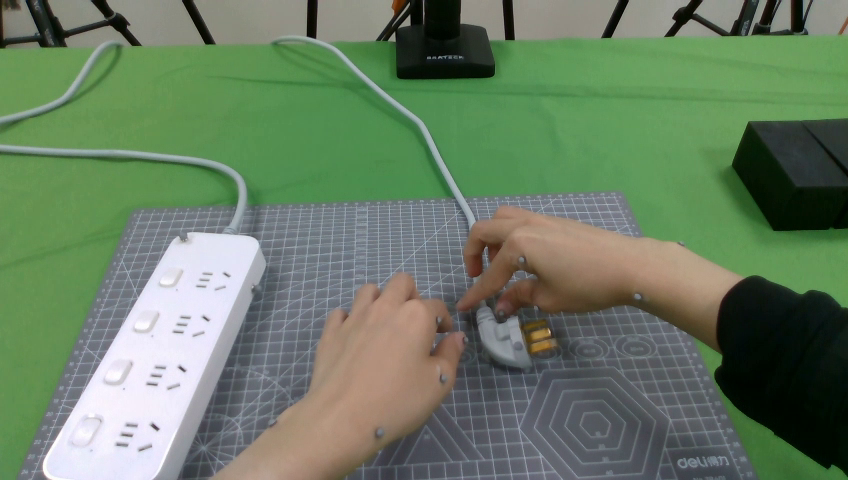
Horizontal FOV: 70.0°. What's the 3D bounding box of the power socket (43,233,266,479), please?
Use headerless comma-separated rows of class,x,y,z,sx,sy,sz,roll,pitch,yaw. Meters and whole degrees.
power socket,-0.172,0.075,0.417,0.072,0.033,0.224,5,43,4

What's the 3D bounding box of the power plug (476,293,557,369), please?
power plug,0.063,0.057,0.432,0.052,0.035,0.072,-16,55,10
